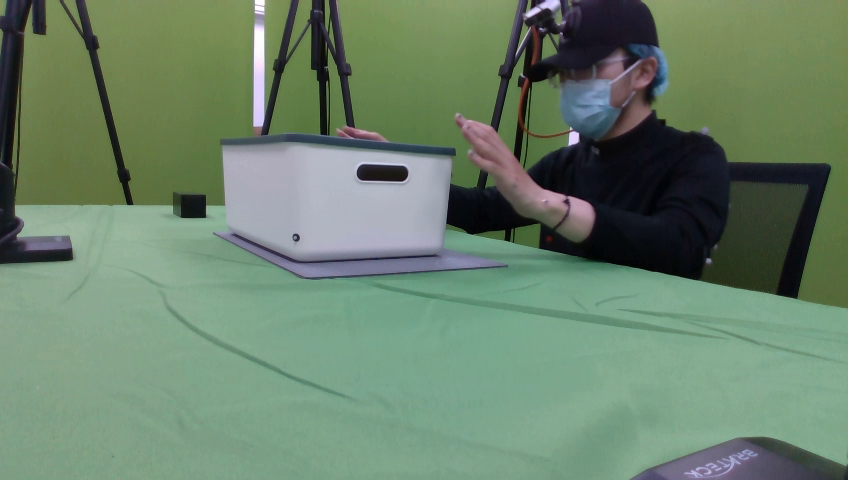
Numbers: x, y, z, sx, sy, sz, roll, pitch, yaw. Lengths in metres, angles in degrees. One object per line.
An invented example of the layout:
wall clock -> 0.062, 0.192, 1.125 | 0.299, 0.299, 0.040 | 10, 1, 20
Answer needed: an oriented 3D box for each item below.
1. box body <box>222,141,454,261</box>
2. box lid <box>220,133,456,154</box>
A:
box body -> -0.151, -0.074, 0.963 | 0.255, 0.160, 0.362 | -3, 9, -33
box lid -> -0.148, -0.147, 0.951 | 0.265, 0.015, 0.369 | -2, 8, -33
